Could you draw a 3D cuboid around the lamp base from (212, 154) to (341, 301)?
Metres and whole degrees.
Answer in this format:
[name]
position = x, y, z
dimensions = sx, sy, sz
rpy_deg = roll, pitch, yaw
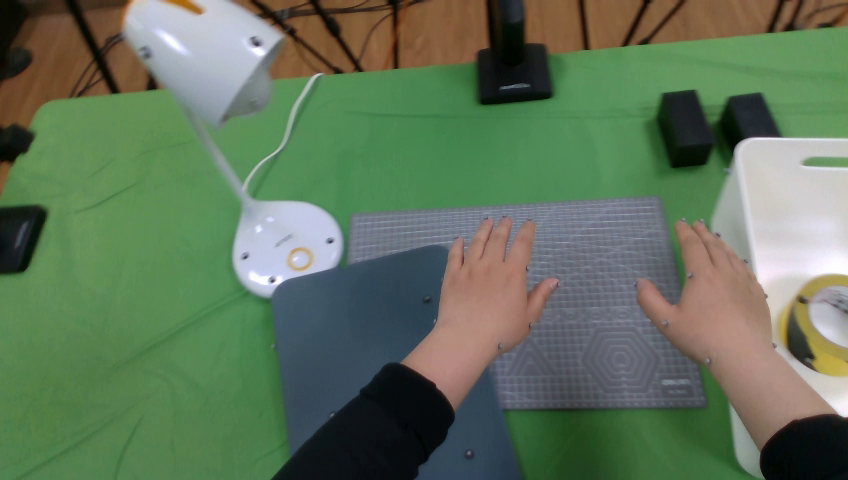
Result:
[lamp base]
position = -0.219, -0.028, 0.818
dimensions = 0.177, 0.182, 0.160
rpy_deg = 33, 69, 26

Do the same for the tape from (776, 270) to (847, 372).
[tape]
position = 0.484, 0.094, 0.714
dimensions = 0.117, 0.053, 0.116
rpy_deg = -3, 60, 6

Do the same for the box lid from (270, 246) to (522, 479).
[box lid]
position = -0.047, 0.188, 0.759
dimensions = 0.263, 0.015, 0.368
rpy_deg = -14, 62, -2

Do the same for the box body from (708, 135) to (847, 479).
[box body]
position = 0.471, 0.077, 0.668
dimensions = 0.254, 0.162, 0.361
rpy_deg = 2, 61, 10

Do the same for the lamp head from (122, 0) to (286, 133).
[lamp head]
position = -0.207, -0.175, 0.557
dimensions = 0.123, 0.112, 0.112
rpy_deg = 34, 66, -12
